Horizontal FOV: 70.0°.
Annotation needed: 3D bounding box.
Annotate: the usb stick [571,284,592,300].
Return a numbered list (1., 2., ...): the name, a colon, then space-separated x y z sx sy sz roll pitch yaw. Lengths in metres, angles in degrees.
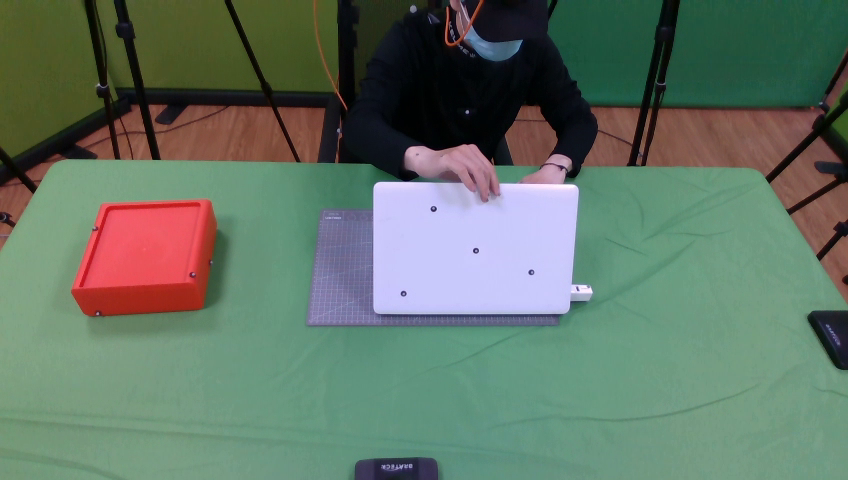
1. usb stick: 0.276 0.096 1.112 0.059 0.027 0.021 -1 46 -7

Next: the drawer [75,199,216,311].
1. drawer: -0.494 0.023 1.098 0.195 0.073 0.210 -2 47 -8

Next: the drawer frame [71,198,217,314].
1. drawer frame: -0.493 0.024 1.096 0.202 0.083 0.212 -3 47 -8

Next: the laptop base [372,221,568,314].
1. laptop base: 0.080 0.049 1.158 0.355 0.023 0.234 0 43 -4

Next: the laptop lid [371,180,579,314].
1. laptop lid: 0.087 0.015 1.044 0.357 0.242 0.013 2 13 -4
